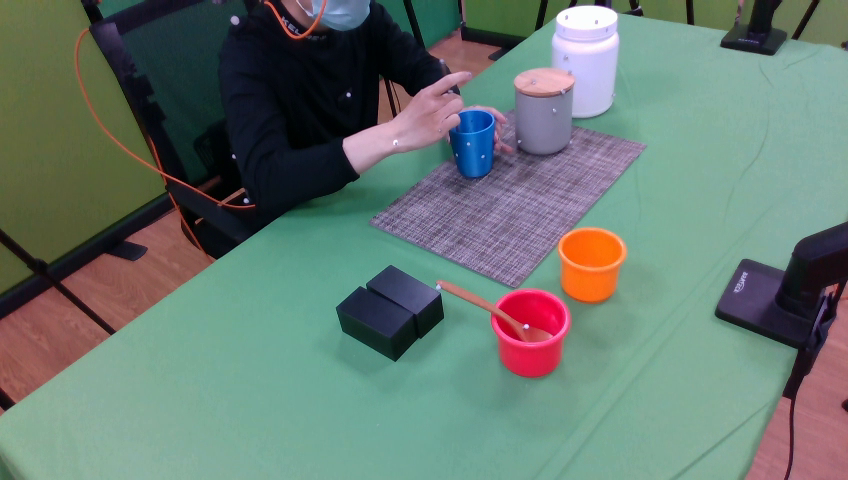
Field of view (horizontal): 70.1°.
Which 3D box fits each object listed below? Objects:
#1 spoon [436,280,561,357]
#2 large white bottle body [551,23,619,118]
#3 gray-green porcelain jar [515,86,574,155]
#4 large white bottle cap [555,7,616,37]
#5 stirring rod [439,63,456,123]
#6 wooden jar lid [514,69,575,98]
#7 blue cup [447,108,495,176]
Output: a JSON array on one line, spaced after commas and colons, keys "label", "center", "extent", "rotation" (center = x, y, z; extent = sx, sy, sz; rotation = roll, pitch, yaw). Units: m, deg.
[{"label": "spoon", "center": [0.096, 0.095, 0.757], "extent": [0.195, 0.021, 0.041], "rotation": [34, 43, -20]}, {"label": "large white bottle body", "center": [0.321, -0.356, 1.218], "extent": [0.130, 0.185, 0.130], "rotation": [-4, 41, 4]}, {"label": "gray-green porcelain jar", "center": [0.223, -0.232, 1.129], "extent": [0.106, 0.127, 0.105], "rotation": [-4, 40, 4]}, {"label": "large white bottle cap", "center": [0.311, -0.420, 1.163], "extent": [0.115, 0.018, 0.114], "rotation": [-4, 40, 4]}, {"label": "stirring rod", "center": [0.050, -0.221, 1.052], "extent": [0.006, 0.177, 0.014], "rotation": [-13, 27, 5]}, {"label": "wooden jar lid", "center": [0.216, -0.279, 1.088], "extent": [0.108, 0.021, 0.108], "rotation": [-3, 38, 3]}, {"label": "blue cup", "center": [0.088, -0.171, 1.088], "extent": [0.092, 0.100, 0.092], "rotation": [-5, 41, 5]}]
